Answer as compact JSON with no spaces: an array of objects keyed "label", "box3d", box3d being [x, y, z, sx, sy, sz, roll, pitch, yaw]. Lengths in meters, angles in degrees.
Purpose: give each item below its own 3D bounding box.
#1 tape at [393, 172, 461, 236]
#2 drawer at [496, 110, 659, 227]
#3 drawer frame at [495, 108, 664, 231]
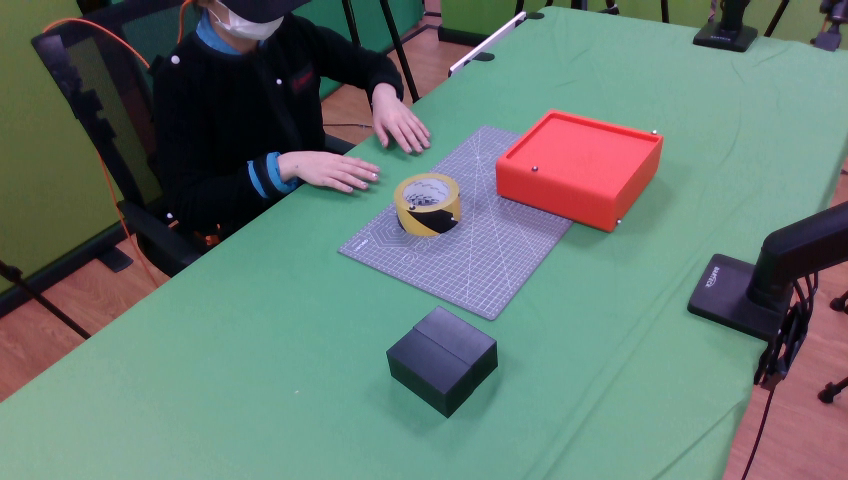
[{"label":"tape","box3d":[0.005,-0.061,1.012,0.117,0.053,0.116,-4,40,4]},{"label":"drawer","box3d":[0.259,-0.127,1.028,0.210,0.073,0.195,23,48,30]},{"label":"drawer frame","box3d":[0.262,-0.127,1.028,0.212,0.083,0.202,22,48,29]}]
